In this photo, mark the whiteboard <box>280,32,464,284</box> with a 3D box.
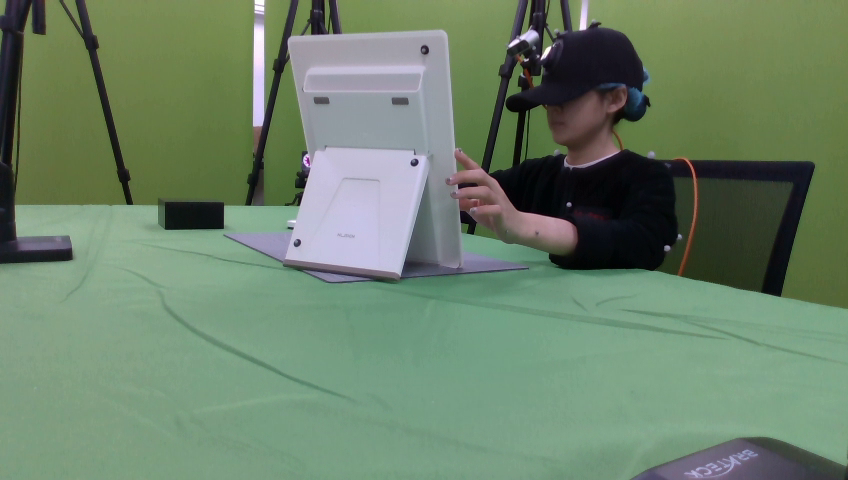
[{"bbox_3d":[-0.087,-0.080,0.728,0.216,0.305,0.144,7,28,24],"label":"whiteboard"}]

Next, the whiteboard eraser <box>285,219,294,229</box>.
[{"bbox_3d":[-0.226,-0.032,1.202,0.102,0.019,0.041,-1,8,-32],"label":"whiteboard eraser"}]
